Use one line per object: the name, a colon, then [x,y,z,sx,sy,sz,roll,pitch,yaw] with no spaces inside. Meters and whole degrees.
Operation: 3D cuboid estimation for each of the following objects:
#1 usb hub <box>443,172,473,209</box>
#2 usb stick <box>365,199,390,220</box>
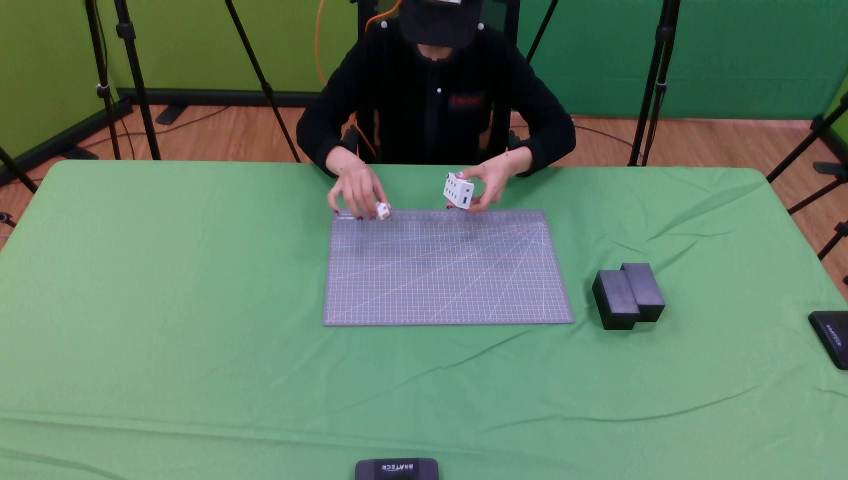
usb hub: [0.065,-0.098,1.171,0.025,0.049,0.124,12,13,-14]
usb stick: [-0.087,-0.057,1.160,0.021,0.027,0.059,-32,36,-25]
